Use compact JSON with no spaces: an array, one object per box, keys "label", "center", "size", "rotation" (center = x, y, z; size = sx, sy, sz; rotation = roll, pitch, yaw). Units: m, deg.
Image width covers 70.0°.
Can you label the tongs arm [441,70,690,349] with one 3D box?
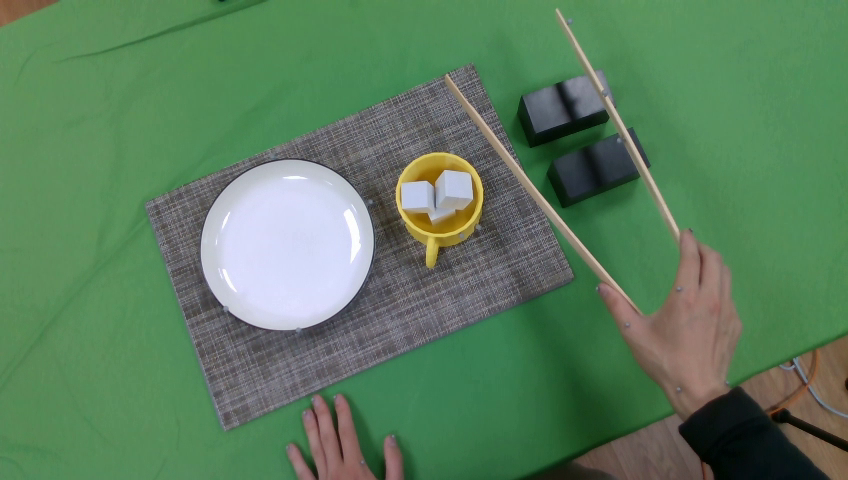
[{"label":"tongs arm","center":[0.133,-0.039,0.633],"size":[0.028,0.028,0.385],"rotation":[-35,74,-5]}]

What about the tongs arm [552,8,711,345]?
[{"label":"tongs arm","center":[0.200,-0.076,0.630],"size":[0.051,0.027,0.382],"rotation":[-24,75,1]}]

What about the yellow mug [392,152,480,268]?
[{"label":"yellow mug","center":[0.013,-0.031,0.707],"size":[0.100,0.064,0.130],"rotation":[8,81,4]}]

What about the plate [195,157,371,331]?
[{"label":"plate","center":[-0.165,0.006,0.725],"size":[0.207,0.039,0.207],"rotation":[0,81,3]}]
